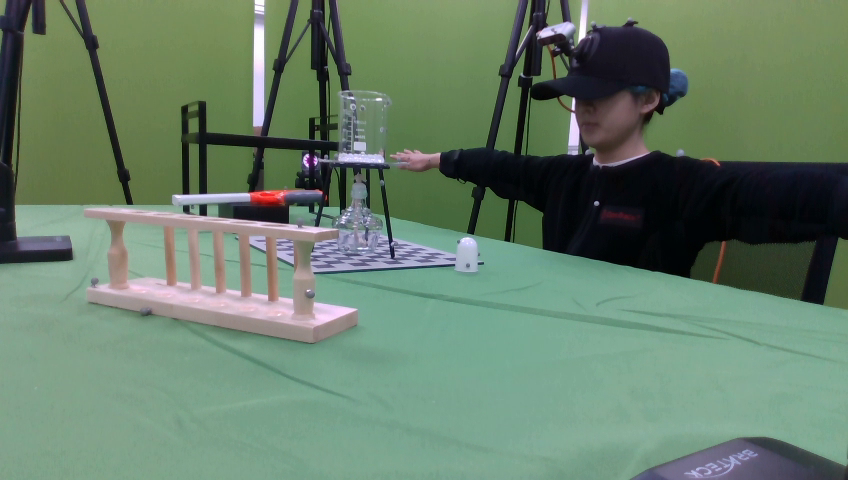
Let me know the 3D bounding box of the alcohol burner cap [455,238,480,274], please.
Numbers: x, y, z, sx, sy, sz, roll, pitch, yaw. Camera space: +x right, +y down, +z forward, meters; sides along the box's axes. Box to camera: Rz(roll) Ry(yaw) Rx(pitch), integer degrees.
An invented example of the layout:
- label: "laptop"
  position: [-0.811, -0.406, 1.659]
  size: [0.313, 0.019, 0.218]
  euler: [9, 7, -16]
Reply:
- label: "alcohol burner cap"
  position: [0.058, 0.022, 0.798]
  size: [0.034, 0.048, 0.034]
  euler: [2, 6, 0]

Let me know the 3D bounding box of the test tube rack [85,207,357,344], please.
- label: "test tube rack"
  position: [-0.177, 0.022, 0.518]
  size: [0.241, 0.085, 0.067]
  euler: [6, 7, 23]

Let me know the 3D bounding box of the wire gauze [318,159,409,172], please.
- label: "wire gauze"
  position: [-0.091, -0.112, 0.887]
  size: [0.122, 0.011, 0.124]
  euler: [3, 3, -15]

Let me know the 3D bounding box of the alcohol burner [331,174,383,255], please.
- label: "alcohol burner"
  position: [-0.098, -0.038, 0.895]
  size: [0.078, 0.119, 0.078]
  euler: [4, 9, 0]

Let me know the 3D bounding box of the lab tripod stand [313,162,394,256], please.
- label: "lab tripod stand"
  position: [-0.098, -0.048, 0.897]
  size: [0.148, 0.131, 0.148]
  euler: [1, 6, 0]

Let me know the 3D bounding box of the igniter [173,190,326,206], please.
- label: "igniter"
  position: [-0.317, -0.079, 1.128]
  size: [0.278, 0.025, 0.057]
  euler: [-4, 13, -32]

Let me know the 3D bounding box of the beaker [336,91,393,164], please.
- label: "beaker"
  position: [-0.087, -0.160, 0.878]
  size: [0.084, 0.100, 0.073]
  euler: [0, 6, -24]
